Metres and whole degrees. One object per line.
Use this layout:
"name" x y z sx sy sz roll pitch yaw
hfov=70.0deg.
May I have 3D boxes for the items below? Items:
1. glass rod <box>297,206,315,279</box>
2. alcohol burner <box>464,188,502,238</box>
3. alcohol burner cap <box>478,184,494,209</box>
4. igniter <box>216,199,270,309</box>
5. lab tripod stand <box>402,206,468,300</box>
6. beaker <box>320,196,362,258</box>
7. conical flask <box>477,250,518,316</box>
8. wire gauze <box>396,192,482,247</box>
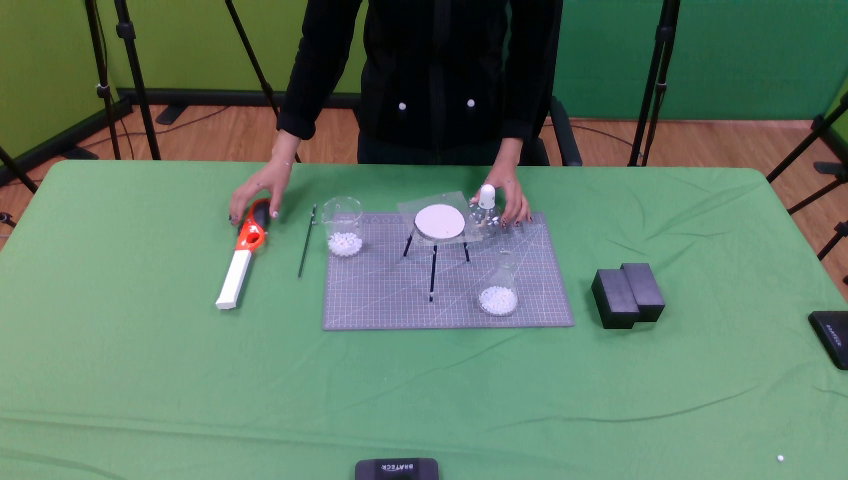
"glass rod" -0.231 0.000 1.191 0.008 0.008 0.198 2 46 -1
"alcohol burner" 0.120 -0.061 1.201 0.078 0.119 0.077 4 47 -4
"alcohol burner cap" 0.121 -0.086 1.175 0.034 0.048 0.033 0 42 0
"igniter" -0.342 0.016 1.153 0.057 0.025 0.275 -3 45 7
"lab tripod stand" 0.023 0.013 1.108 0.148 0.132 0.147 3 44 -2
"beaker" -0.156 -0.021 1.150 0.084 0.101 0.073 -30 54 -28
"conical flask" 0.136 0.072 1.067 0.075 0.122 0.075 2 46 -2
"wire gauze" 0.025 -0.036 1.061 0.125 0.011 0.120 -9 47 -14
